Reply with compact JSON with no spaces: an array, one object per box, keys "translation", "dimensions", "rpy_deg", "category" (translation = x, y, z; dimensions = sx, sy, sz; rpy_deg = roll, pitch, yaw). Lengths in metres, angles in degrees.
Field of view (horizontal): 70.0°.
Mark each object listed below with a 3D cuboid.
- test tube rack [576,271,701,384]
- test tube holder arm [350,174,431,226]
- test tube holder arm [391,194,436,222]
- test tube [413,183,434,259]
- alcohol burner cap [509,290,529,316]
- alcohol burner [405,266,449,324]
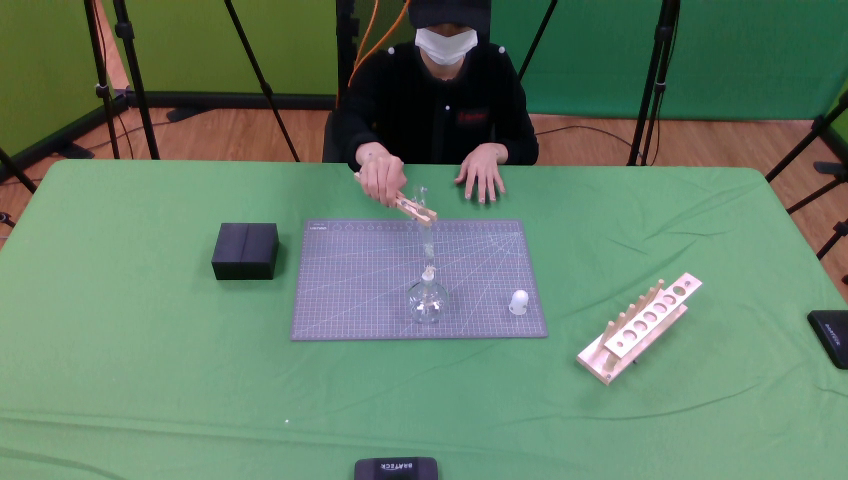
[{"translation":[0.373,0.138,1.047],"dimensions":[0.242,0.085,0.066],"rpy_deg":[-31,56,-29],"category":"test tube rack"},{"translation":[-0.057,-0.066,0.968],"dimensions":[0.177,0.015,0.013],"rpy_deg":[30,49,31],"category":"test tube holder arm"},{"translation":[-0.019,-0.051,0.949],"dimensions":[0.087,0.015,0.010],"rpy_deg":[24,47,26],"category":"test tube holder arm"},{"translation":[0.000,-0.026,0.948],"dimensions":[0.017,0.151,0.017],"rpy_deg":[-5,42,5],"category":"test tube"},{"translation":[0.171,0.110,1.086],"dimensions":[0.034,0.048,0.033],"rpy_deg":[2,45,-2],"category":"alcohol burner cap"},{"translation":[0.005,0.089,1.043],"dimensions":[0.078,0.120,0.077],"rpy_deg":[1,45,-1],"category":"alcohol burner"}]
